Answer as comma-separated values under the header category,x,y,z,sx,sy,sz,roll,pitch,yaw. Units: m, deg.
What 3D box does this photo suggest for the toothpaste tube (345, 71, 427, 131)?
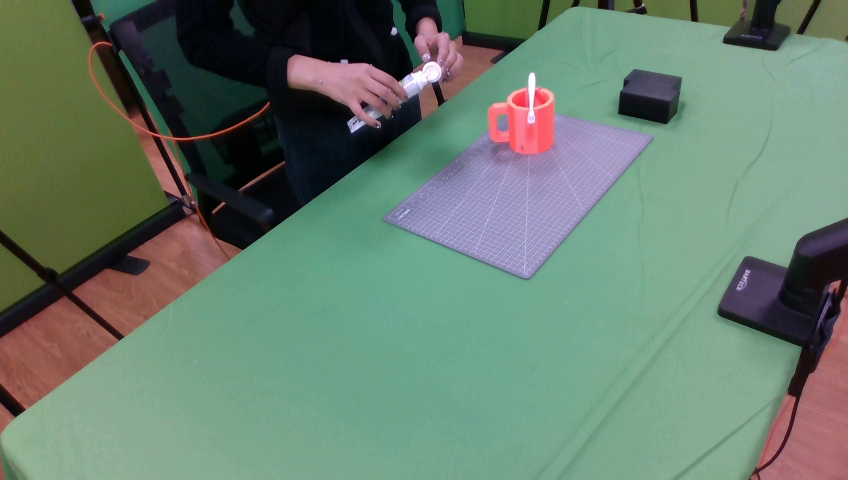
category,x,y,z,sx,sy,sz,roll,pitch,yaw
toothpaste tube,-0.065,-0.246,1.059,0.165,0.035,0.054,-33,30,0

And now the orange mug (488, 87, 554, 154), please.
category,x,y,z,sx,sy,sz,roll,pitch,yaw
orange mug,0.185,-0.227,1.151,0.126,0.101,0.083,1,41,5

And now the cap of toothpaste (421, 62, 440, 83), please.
category,x,y,z,sx,sy,sz,roll,pitch,yaw
cap of toothpaste,0.010,-0.296,1.070,0.037,0.037,0.011,0,16,11

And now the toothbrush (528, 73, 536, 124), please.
category,x,y,z,sx,sy,sz,roll,pitch,yaw
toothbrush,0.198,-0.267,1.114,0.014,0.017,0.181,-4,40,13
